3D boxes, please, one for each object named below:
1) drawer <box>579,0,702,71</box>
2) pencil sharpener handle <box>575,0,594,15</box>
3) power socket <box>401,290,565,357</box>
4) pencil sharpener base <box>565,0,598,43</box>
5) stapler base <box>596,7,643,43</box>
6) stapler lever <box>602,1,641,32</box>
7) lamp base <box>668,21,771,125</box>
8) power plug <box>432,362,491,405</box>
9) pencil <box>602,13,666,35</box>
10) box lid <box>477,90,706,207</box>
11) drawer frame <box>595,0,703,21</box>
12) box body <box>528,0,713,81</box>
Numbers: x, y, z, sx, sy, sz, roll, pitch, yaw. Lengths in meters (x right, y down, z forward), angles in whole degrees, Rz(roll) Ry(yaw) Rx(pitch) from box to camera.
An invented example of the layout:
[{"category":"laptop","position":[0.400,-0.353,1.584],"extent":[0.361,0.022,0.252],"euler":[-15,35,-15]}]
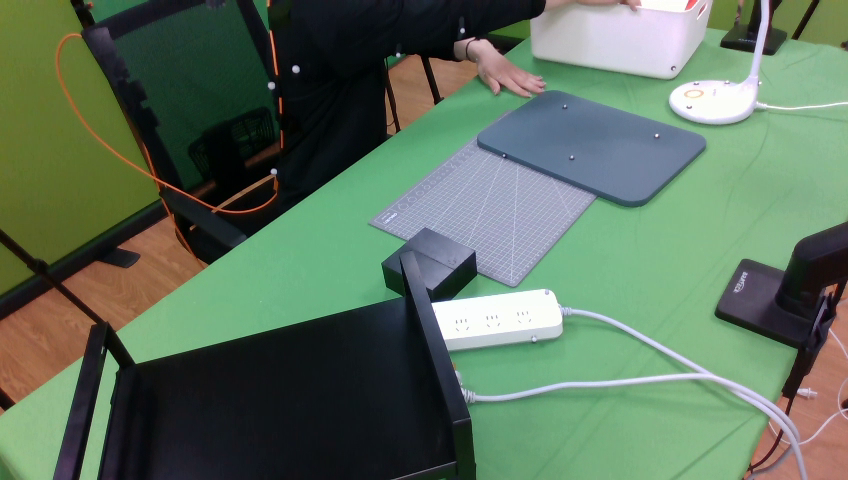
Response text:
[{"category":"drawer","position":[0.484,-0.489,1.360],"extent":[0.210,0.073,0.194],"euler":[24,63,21]},{"category":"pencil sharpener handle","position":[0.401,-0.594,1.511],"extent":[0.036,0.067,0.030],"euler":[37,49,-1]},{"category":"power socket","position":[0.080,0.113,0.821],"extent":[0.227,0.033,0.072],"euler":[-7,41,0]},{"category":"pencil sharpener base","position":[0.388,-0.549,1.484],"extent":[0.061,0.107,0.077],"euler":[14,44,23]},{"category":"stapler base","position":[0.453,-0.502,1.397],"extent":[0.131,0.024,0.041],"euler":[-39,63,-19]},{"category":"stapler lever","position":[0.451,-0.517,1.378],"extent":[0.118,0.040,0.026],"euler":[-39,63,-18]},{"category":"lamp base","position":[0.577,-0.333,1.155],"extent":[0.179,0.181,0.160],"euler":[6,42,12]},{"category":"power plug","position":[0.045,0.182,0.758],"extent":[0.073,0.035,0.052],"euler":[21,43,-18]},{"category":"pencil","position":[0.483,-0.495,1.388],"extent":[0.195,0.012,0.012],"euler":[-22,42,-20]},{"category":"box lid","position":[0.310,-0.190,1.157],"extent":[0.368,0.015,0.264],"euler":[30,52,35]},{"category":"drawer frame","position":[0.487,-0.490,1.360],"extent":[0.212,0.083,0.202],"euler":[24,62,20]},{"category":"box body","position":[0.450,-0.512,1.398],"extent":[0.361,0.161,0.254],"euler":[19,48,28]}]
